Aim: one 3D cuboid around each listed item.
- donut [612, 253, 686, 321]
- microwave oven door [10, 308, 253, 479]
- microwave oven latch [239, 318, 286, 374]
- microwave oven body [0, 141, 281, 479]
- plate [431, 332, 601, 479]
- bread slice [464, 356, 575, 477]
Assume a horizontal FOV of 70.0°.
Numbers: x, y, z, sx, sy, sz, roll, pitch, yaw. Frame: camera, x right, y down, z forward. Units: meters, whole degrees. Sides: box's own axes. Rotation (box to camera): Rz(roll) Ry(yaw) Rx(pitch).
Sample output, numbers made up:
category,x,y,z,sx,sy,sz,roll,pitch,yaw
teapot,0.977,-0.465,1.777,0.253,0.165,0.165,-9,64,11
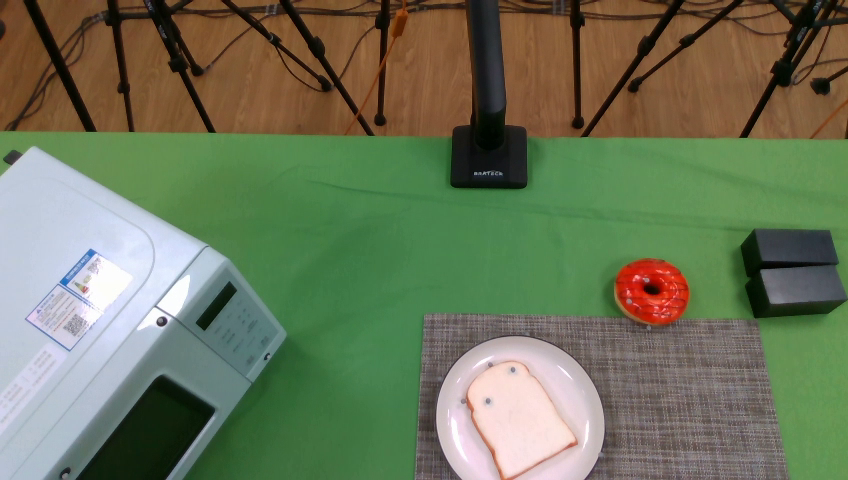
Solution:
category,x,y,z,sx,sy,sz,roll,pitch,yaw
donut,0.305,0.064,0.824,0.099,0.049,0.098,-3,59,6
microwave oven door,-0.338,0.258,0.635,0.039,0.246,0.354,26,67,17
microwave oven latch,-0.217,0.137,0.805,0.030,0.030,0.079,29,69,17
microwave oven body,-0.441,0.165,0.695,0.324,0.262,0.440,27,68,16
plate,0.113,0.219,0.757,0.207,0.039,0.206,-1,63,3
bread slice,0.110,0.213,0.761,0.105,0.019,0.130,-26,64,-10
